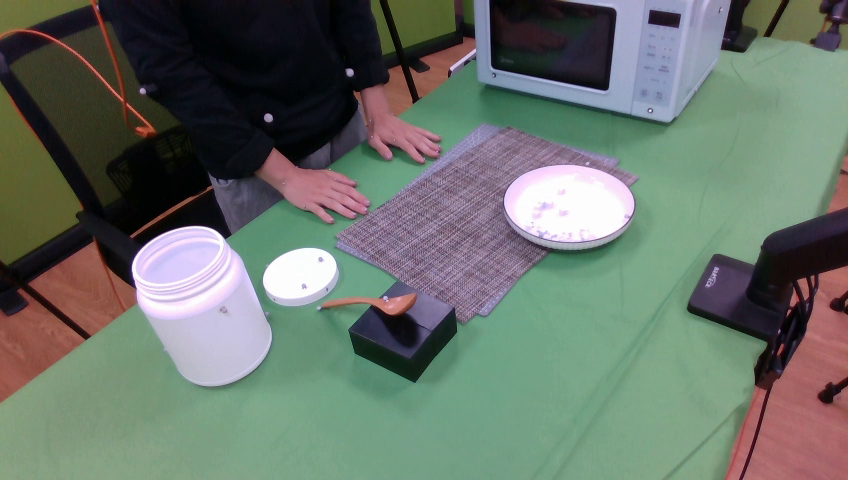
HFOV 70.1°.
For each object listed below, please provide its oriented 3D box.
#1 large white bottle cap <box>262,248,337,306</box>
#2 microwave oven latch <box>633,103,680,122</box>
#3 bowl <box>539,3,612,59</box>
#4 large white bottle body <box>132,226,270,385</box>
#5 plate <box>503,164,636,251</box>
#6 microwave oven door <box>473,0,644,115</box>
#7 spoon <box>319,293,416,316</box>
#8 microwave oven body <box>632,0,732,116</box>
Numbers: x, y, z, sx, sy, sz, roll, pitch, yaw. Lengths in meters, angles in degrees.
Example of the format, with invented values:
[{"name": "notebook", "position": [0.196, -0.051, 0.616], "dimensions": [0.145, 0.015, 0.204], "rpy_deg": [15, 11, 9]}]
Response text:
[{"name": "large white bottle cap", "position": [-0.192, 0.056, 0.934], "dimensions": [0.115, 0.018, 0.114], "rpy_deg": [-4, 41, 4]}, {"name": "microwave oven latch", "position": [0.444, -0.249, 1.157], "dimensions": [0.078, 0.029, 0.030], "rpy_deg": [21, 48, 30]}, {"name": "bowl", "position": [0.323, -0.441, 1.298], "dimensions": [0.151, 0.077, 0.150], "rpy_deg": [-4, 42, 4]}, {"name": "large white bottle body", "position": [-0.286, 0.085, 0.784], "dimensions": [0.130, 0.185, 0.130], "rpy_deg": [-4, 41, 4]}, {"name": "plate", "position": [0.231, -0.050, 0.976], "dimensions": [0.209, 0.038, 0.208], "rpy_deg": [-3, 41, 3]}, {"name": "microwave oven door", "position": [0.257, -0.396, 1.199], "dimensions": [0.353, 0.245, 0.039], "rpy_deg": [21, 48, 29]}, {"name": "spoon", "position": [-0.082, 0.086, 0.826], "dimensions": [0.192, 0.022, 0.041], "rpy_deg": [-3, 37, 41]}, {"name": "microwave oven body", "position": [0.377, -0.462, 1.267], "dimensions": [0.438, 0.261, 0.327], "rpy_deg": [21, 48, 30]}]
